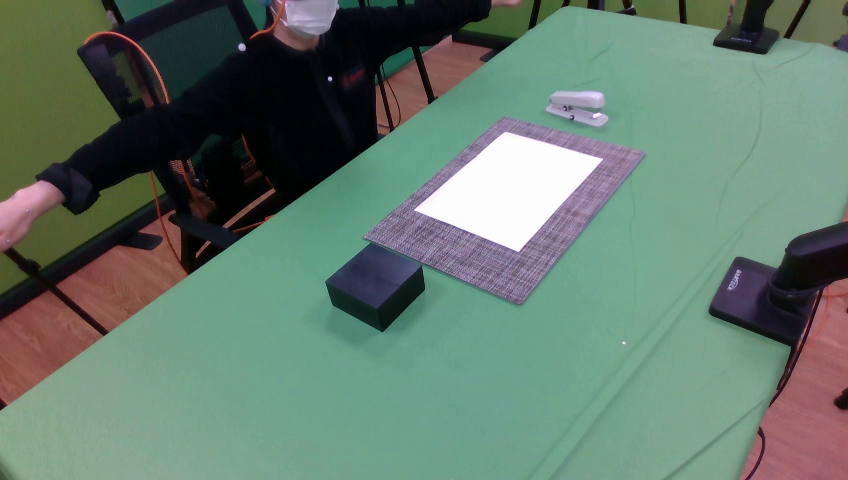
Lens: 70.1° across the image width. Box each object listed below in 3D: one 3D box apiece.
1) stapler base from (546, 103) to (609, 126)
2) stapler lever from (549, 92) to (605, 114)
[{"bbox_3d":[0.313,-0.266,1.235,0.129,0.024,0.041,26,48,35],"label":"stapler base"},{"bbox_3d":[0.309,-0.285,1.220,0.117,0.040,0.027,26,48,35],"label":"stapler lever"}]
